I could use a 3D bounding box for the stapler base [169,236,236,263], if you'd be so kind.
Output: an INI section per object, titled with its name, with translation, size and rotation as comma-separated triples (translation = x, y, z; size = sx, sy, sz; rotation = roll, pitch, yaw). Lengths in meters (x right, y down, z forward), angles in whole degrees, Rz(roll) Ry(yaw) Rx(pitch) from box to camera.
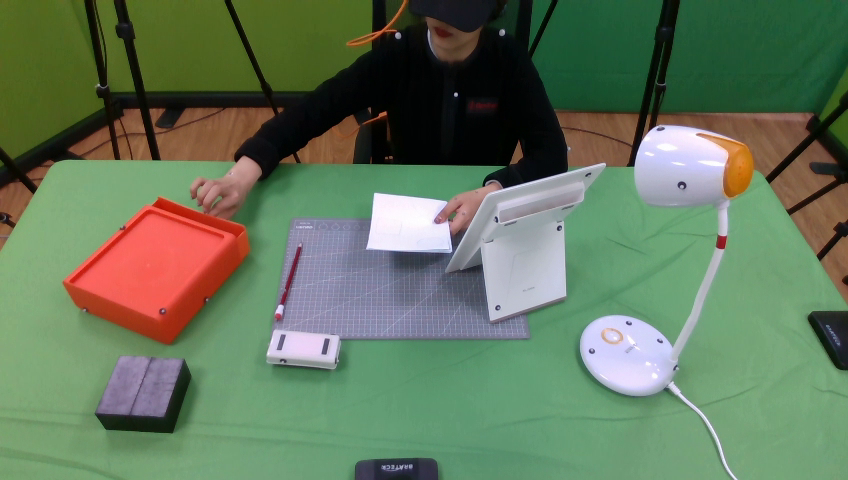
[stapler base]
translation = -0.418, 0.013, 1.138
size = 0.130, 0.024, 0.041
rotation = 9, 41, 16

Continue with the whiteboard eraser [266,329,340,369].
[whiteboard eraser]
translation = -0.198, 0.181, 0.994
size = 0.113, 0.042, 0.055
rotation = 5, 45, 1

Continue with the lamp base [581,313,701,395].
[lamp base]
translation = 0.361, 0.144, 0.973
size = 0.178, 0.181, 0.160
rotation = 34, 53, 23

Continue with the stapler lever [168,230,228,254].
[stapler lever]
translation = -0.420, -0.002, 1.124
size = 0.118, 0.040, 0.026
rotation = 12, 42, 13

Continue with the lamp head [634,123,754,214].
[lamp head]
translation = 0.351, -0.089, 0.776
size = 0.112, 0.113, 0.122
rotation = -30, 30, -28

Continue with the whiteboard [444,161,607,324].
[whiteboard]
translation = 0.186, 0.025, 1.029
size = 0.217, 0.306, 0.143
rotation = -15, 68, -18

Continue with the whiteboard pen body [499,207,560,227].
[whiteboard pen body]
translation = 0.222, -0.051, 1.260
size = 0.141, 0.017, 0.017
rotation = -15, 49, -16

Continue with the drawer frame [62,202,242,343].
[drawer frame]
translation = -0.469, 0.051, 1.070
size = 0.201, 0.083, 0.213
rotation = 18, 48, 12

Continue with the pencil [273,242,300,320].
[pencil]
translation = -0.250, 0.071, 1.115
size = 0.012, 0.012, 0.193
rotation = 5, 43, 1

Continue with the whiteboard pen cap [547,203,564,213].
[whiteboard pen cap]
translation = 0.277, -0.066, 1.275
size = 0.033, 0.018, 0.018
rotation = -18, 50, -15

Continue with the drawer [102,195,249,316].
[drawer]
translation = -0.457, 0.032, 1.091
size = 0.194, 0.073, 0.211
rotation = 19, 48, 13
